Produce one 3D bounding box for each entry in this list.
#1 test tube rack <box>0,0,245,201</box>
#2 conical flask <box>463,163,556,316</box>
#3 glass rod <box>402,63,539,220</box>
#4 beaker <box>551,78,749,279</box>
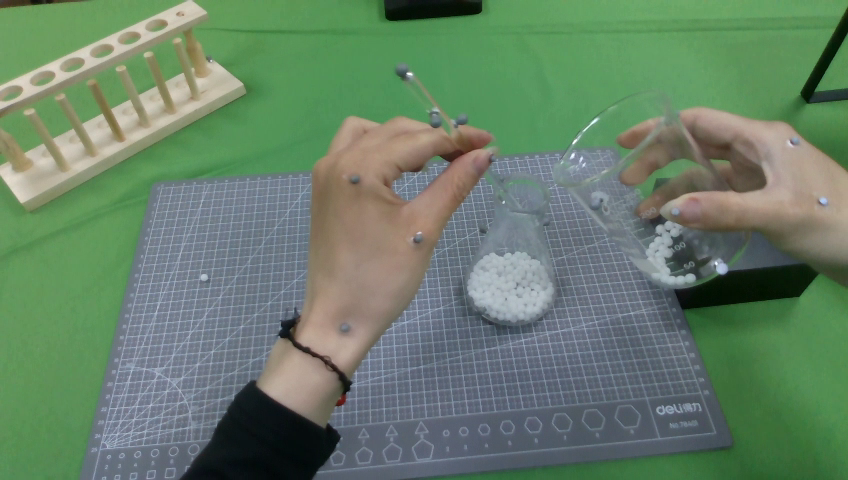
[{"bbox_3d":[-0.306,-0.147,0.593,0.242,0.086,0.066,-38,60,-23],"label":"test tube rack"},{"bbox_3d":[0.067,-0.002,0.449,0.075,0.123,0.074,-1,53,2],"label":"conical flask"},{"bbox_3d":[0.037,-0.047,0.358,0.008,0.201,0.008,-10,67,25],"label":"glass rod"},{"bbox_3d":[0.134,-0.031,0.359,0.101,0.083,0.074,43,67,-20],"label":"beaker"}]
